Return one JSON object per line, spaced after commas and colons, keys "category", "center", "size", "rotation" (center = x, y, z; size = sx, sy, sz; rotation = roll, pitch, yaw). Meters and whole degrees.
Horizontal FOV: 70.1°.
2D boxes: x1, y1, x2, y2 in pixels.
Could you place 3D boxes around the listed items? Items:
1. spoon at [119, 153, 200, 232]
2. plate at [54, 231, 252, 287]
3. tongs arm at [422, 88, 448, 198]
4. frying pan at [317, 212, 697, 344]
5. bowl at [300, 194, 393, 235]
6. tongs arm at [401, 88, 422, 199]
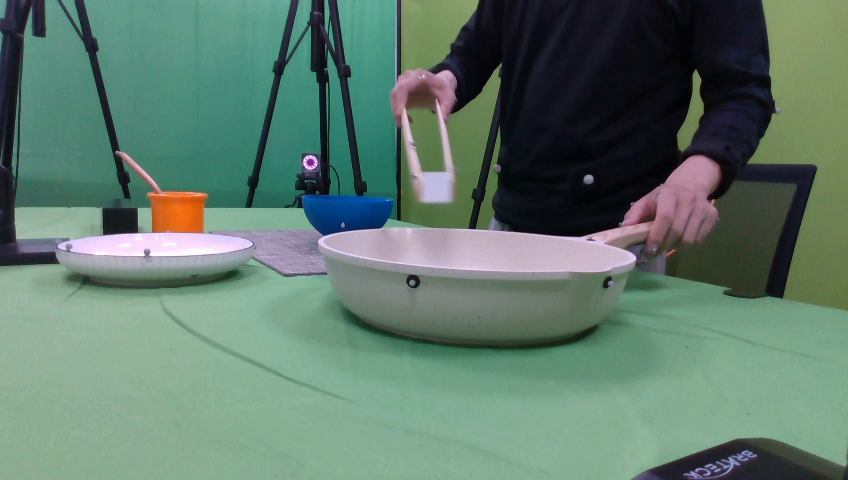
{"category": "spoon", "center": [-0.439, -0.077, 1.000], "size": [0.021, 0.193, 0.042], "rotation": [-43, -7, 22]}
{"category": "plate", "center": [-0.309, 0.020, 0.705], "size": [0.208, 0.039, 0.207], "rotation": [2, 7, 0]}
{"category": "tongs arm", "center": [0.015, -0.147, 0.828], "size": [0.028, 0.028, 0.386], "rotation": [-5, 28, 1]}
{"category": "frying pan", "center": [0.133, 0.013, 0.629], "size": [0.490, 0.102, 0.305], "rotation": [-12, 14, -31]}
{"category": "bowl", "center": [-0.128, -0.034, 0.995], "size": [0.151, 0.077, 0.151], "rotation": [2, 7, 0]}
{"category": "tongs arm", "center": [-0.008, -0.146, 0.827], "size": [0.051, 0.026, 0.383], "rotation": [-4, 28, -5]}
